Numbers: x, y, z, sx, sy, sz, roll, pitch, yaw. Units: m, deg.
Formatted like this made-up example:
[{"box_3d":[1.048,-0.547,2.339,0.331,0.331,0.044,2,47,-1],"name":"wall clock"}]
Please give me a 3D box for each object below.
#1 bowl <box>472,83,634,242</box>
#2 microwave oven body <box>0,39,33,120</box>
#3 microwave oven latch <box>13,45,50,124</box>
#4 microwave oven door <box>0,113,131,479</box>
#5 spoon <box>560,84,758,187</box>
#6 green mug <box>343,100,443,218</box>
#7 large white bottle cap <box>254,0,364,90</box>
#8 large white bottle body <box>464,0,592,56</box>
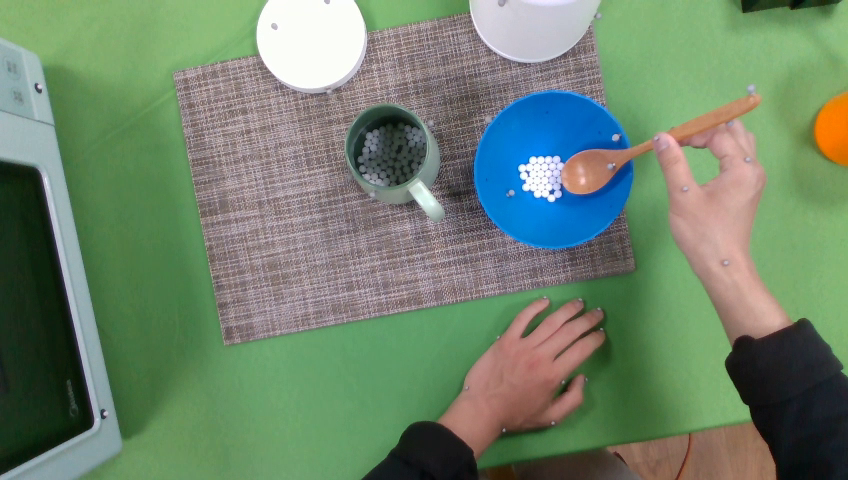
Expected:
[{"box_3d":[0.122,-0.073,0.606,0.151,0.077,0.151,0,92,3],"name":"bowl"},{"box_3d":[-0.528,0.047,0.544,0.326,0.260,0.441,-13,91,2],"name":"microwave oven body"},{"box_3d":[-0.417,-0.159,0.630,0.030,0.029,0.079,-12,92,2],"name":"microwave oven latch"},{"box_3d":[-0.376,0.056,0.533,0.039,0.244,0.355,-13,91,3],"name":"microwave oven door"},{"box_3d":[0.196,-0.089,0.531,0.022,0.193,0.041,-21,90,-35],"name":"spoon"},{"box_3d":[-0.023,-0.075,0.598,0.092,0.105,0.125,-38,89,2],"name":"green mug"},{"box_3d":[-0.122,-0.218,0.641,0.115,0.018,0.115,0,91,2],"name":"large white bottle cap"},{"box_3d":[0.102,-0.260,0.549,0.130,0.185,0.130,0,87,3],"name":"large white bottle body"}]
